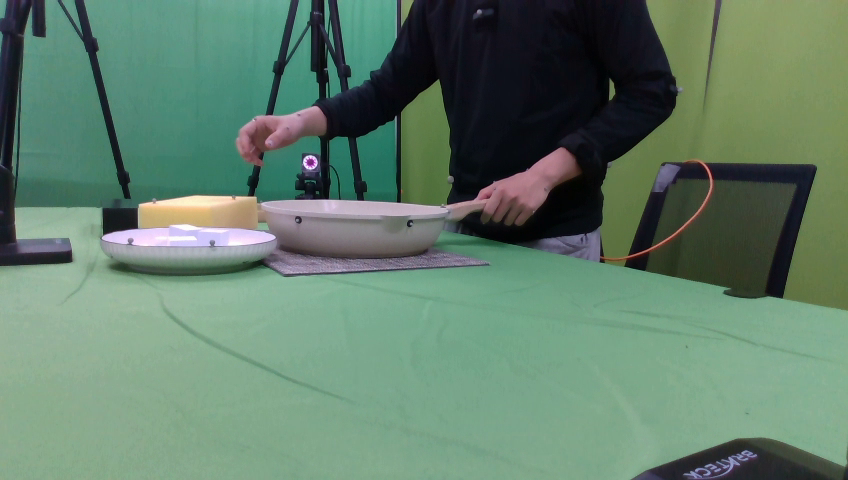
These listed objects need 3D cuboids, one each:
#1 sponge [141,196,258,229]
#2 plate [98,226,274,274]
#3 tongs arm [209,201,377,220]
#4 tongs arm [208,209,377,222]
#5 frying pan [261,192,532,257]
[{"bbox_3d":[-0.380,-0.040,1.046,0.118,0.061,0.207,1,8,4],"label":"sponge"},{"bbox_3d":[-0.301,0.012,0.778,0.208,0.039,0.207,3,7,0],"label":"plate"},{"bbox_3d":[-0.306,-0.070,1.430,0.386,0.026,0.050,2,8,-15],"label":"tongs arm"},{"bbox_3d":[-0.280,-0.056,1.355,0.389,0.028,0.028,-1,6,-28],"label":"tongs arm"},{"bbox_3d":[-0.016,-0.043,1.006,0.490,0.102,0.305,-11,13,-26],"label":"frying pan"}]
